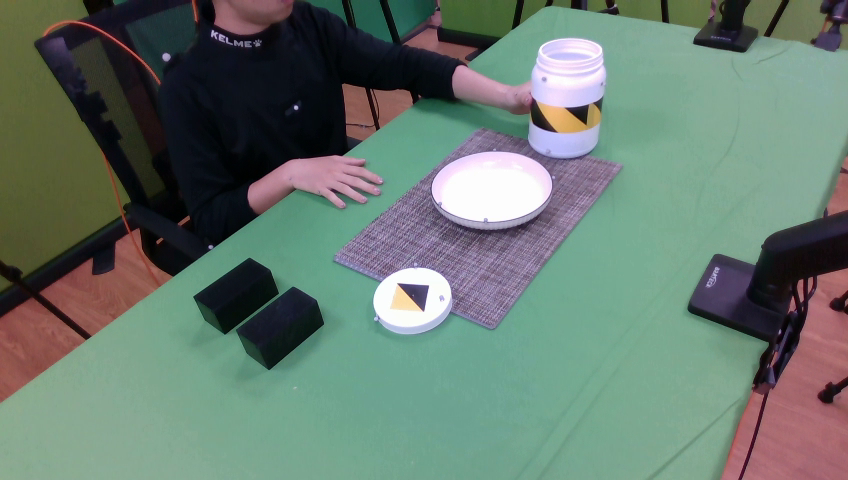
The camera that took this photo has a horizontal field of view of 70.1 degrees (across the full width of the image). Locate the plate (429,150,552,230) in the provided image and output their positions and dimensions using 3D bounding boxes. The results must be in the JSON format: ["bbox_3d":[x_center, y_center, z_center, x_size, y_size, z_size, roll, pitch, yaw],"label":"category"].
[{"bbox_3d":[0.113,-0.082,1.032,0.207,0.039,0.206,-4,41,4],"label":"plate"}]

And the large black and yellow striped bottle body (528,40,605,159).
[{"bbox_3d":[0.259,-0.257,1.103,0.131,0.185,0.130,-3,38,3],"label":"large black and yellow striped bottle body"}]

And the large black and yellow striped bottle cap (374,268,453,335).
[{"bbox_3d":[-0.015,0.087,0.871,0.115,0.019,0.114,-6,43,6],"label":"large black and yellow striped bottle cap"}]
